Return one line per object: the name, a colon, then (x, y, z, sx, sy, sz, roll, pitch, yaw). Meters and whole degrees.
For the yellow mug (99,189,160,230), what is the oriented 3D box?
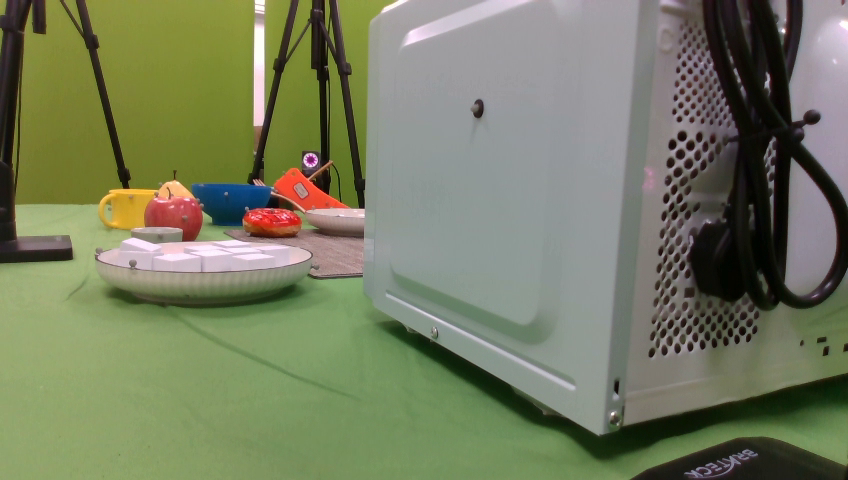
yellow mug: (-0.518, -0.055, 1.080, 0.099, 0.064, 0.131, 7, 10, 26)

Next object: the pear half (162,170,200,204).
pear half: (-0.399, -0.061, 1.002, 0.056, 0.110, 0.076, 2, 12, 1)

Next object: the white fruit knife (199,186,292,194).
white fruit knife: (-0.399, -0.111, 1.368, 0.208, 0.016, 0.027, -4, -19, -29)

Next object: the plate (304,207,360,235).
plate: (-0.123, -0.037, 1.149, 0.209, 0.038, 0.209, 2, 7, 0)

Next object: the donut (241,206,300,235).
donut: (-0.263, -0.032, 1.039, 0.099, 0.048, 0.099, 4, 9, 0)

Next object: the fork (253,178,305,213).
fork: (-0.294, -0.084, 1.293, 0.206, 0.018, 0.028, 29, 12, 26)

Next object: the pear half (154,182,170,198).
pear half: (-0.435, -0.053, 1.006, 0.031, 0.088, 0.070, 3, 12, 0)

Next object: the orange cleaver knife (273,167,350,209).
orange cleaver knife: (-0.237, -0.087, 1.358, 0.211, 0.077, 0.012, 32, 4, -3)

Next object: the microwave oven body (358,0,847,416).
microwave oven body: (0.211, -0.047, 0.475, 0.444, 0.260, 0.324, -1, 8, -28)

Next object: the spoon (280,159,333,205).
spoon: (-0.316, -0.158, 1.639, 0.194, 0.022, 0.041, -50, 31, -20)

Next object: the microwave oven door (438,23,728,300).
microwave oven door: (0.181, -0.073, 0.621, 0.358, 0.243, 0.039, -2, 8, -29)

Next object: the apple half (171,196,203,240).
apple half: (-0.365, -0.033, 0.928, 0.081, 0.081, 0.033, 5, 12, 18)

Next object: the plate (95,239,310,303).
plate: (-0.224, 0.031, 0.629, 0.208, 0.039, 0.207, 2, 7, 0)

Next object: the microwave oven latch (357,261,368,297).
microwave oven latch: (-0.019, 0.033, 0.531, 0.079, 0.029, 0.030, -1, 7, -27)

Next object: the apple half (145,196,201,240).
apple half: (-0.377, -0.027, 0.891, 0.080, 0.074, 0.053, 8, 12, 18)

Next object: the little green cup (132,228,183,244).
little green cup: (-0.342, 0.006, 0.779, 0.061, 0.038, 0.061, 2, 8, 0)

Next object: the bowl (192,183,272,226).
bowl: (-0.381, -0.070, 1.202, 0.151, 0.077, 0.151, 3, 7, 0)
